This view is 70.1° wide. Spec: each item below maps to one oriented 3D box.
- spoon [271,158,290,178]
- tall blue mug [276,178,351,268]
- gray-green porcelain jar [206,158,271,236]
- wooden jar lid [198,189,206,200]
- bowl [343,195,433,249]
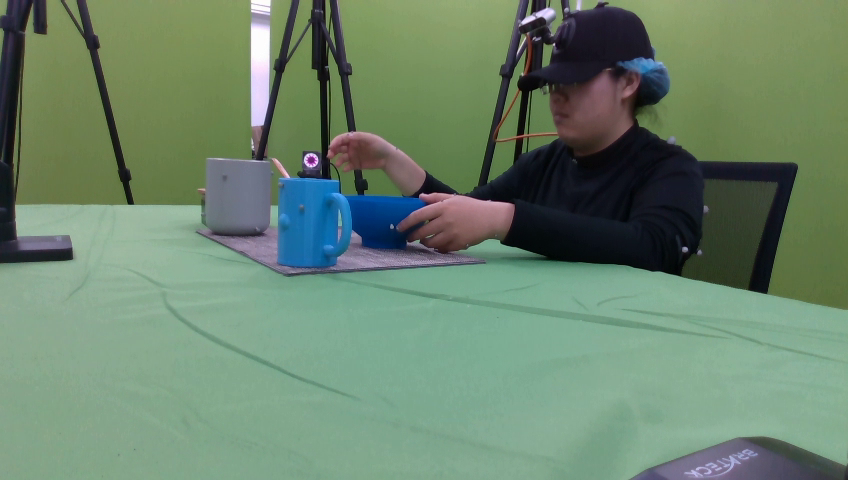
[{"bbox_3d":[-0.268,-0.103,1.236,0.042,0.193,0.021,-10,-32,-39],"label":"spoon"},{"bbox_3d":[-0.133,-0.022,0.767,0.107,0.108,0.078,4,7,12],"label":"tall blue mug"},{"bbox_3d":[-0.316,-0.074,1.031,0.106,0.126,0.106,3,7,0],"label":"gray-green porcelain jar"},{"bbox_3d":[-0.382,-0.088,1.175,0.108,0.020,0.108,3,8,0],"label":"wooden jar lid"},{"bbox_3d":[-0.063,-0.030,0.971,0.151,0.077,0.151,3,7,0],"label":"bowl"}]
